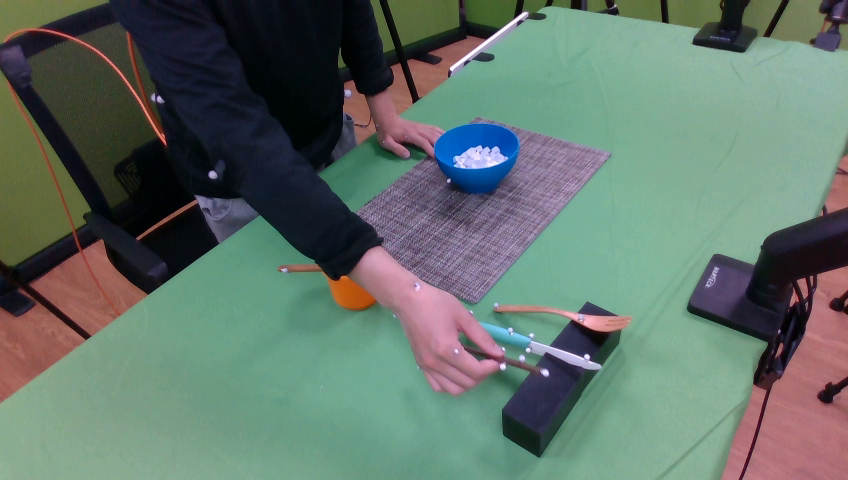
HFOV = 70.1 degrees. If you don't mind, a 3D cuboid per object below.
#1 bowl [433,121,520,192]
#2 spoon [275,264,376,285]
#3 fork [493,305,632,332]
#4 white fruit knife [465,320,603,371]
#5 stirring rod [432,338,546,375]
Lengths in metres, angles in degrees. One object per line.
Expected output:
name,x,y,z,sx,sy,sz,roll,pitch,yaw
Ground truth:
bowl,0.094,-0.137,1.064,0.151,0.077,0.150,-4,41,4
spoon,-0.133,0.044,0.839,0.041,0.195,0.021,25,95,33
fork,0.171,0.097,0.783,0.205,0.019,0.028,4,41,43
white fruit knife,0.128,0.129,0.750,0.205,0.027,0.016,10,45,44
stirring rod,0.068,0.130,0.681,0.014,0.006,0.174,2,3,-39
